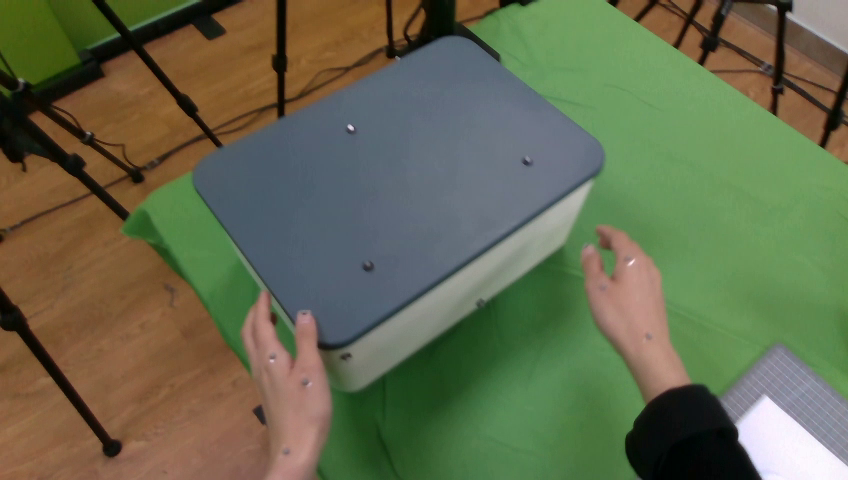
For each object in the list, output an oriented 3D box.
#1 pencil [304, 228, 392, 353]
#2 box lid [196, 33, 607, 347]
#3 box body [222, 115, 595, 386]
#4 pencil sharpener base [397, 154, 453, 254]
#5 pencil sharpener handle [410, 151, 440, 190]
[{"bbox_3d":[-0.091,0.056,0.711,0.012,0.012,0.192,-30,65,-19],"label":"pencil"},{"bbox_3d":[-0.018,-0.079,0.628,0.371,0.015,0.261,-33,64,-19],"label":"box lid"},{"bbox_3d":[-0.020,-0.038,0.689,0.364,0.162,0.252,-33,63,-20],"label":"box body"},{"bbox_3d":[0.001,-0.042,0.717,0.061,0.108,0.076,0,56,0],"label":"pencil sharpener base"},{"bbox_3d":[0.002,-0.091,0.735,0.036,0.068,0.030,-2,56,3],"label":"pencil sharpener handle"}]
